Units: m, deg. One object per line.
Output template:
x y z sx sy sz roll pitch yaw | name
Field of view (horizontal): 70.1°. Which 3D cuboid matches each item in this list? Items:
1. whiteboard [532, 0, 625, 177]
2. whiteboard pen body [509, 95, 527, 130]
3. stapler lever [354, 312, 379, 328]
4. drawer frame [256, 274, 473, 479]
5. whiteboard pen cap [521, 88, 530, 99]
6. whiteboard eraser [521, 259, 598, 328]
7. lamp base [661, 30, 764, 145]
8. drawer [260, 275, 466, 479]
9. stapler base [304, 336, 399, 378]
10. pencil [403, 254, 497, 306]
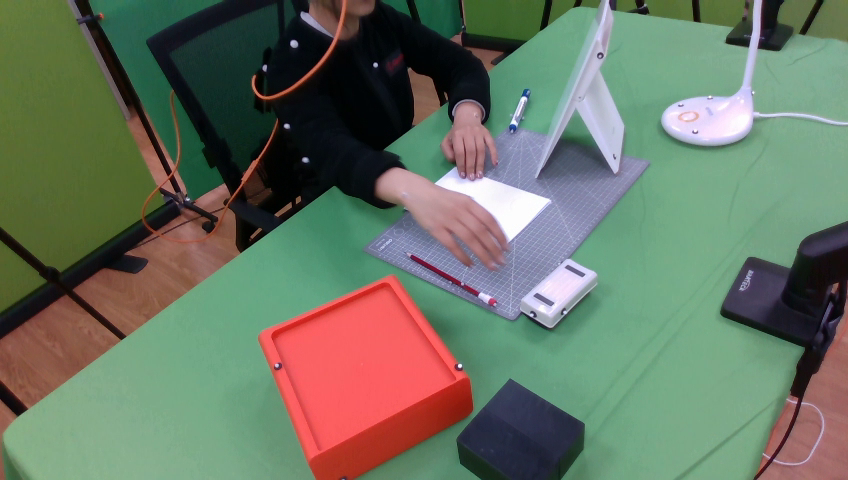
0.321 -0.258 1.050 0.144 0.306 0.217 21 45 5 | whiteboard
0.199 -0.272 1.262 0.017 0.017 0.140 8 44 19 | whiteboard pen body
-0.107 0.127 0.792 0.118 0.040 0.026 -17 26 3 | stapler lever
-0.078 0.163 0.756 0.202 0.083 0.211 -23 43 -17 | drawer frame
0.218 -0.312 1.301 0.018 0.018 0.033 6 46 17 | whiteboard pen cap
0.189 0.076 0.843 0.055 0.042 0.113 29 53 37 | whiteboard eraser
0.535 -0.287 1.096 0.179 0.181 0.159 -10 40 -4 | lamp base
-0.080 0.163 0.760 0.195 0.073 0.210 -22 43 -16 | drawer
-0.099 0.149 0.805 0.130 0.024 0.041 -15 26 2 | stapler base
0.034 0.057 0.914 0.192 0.012 0.012 26 52 38 | pencil
